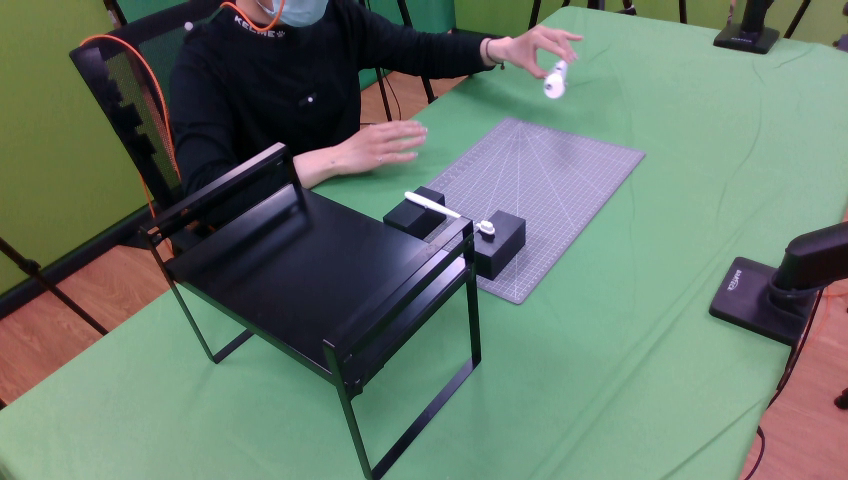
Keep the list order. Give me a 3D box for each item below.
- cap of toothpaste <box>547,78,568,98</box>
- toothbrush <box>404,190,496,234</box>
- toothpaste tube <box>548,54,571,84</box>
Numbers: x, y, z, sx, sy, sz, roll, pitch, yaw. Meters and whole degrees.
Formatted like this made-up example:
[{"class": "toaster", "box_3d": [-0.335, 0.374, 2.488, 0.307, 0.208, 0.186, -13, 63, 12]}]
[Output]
[{"class": "cap of toothpaste", "box_3d": [0.242, -0.277, 1.100, 0.037, 0.037, 0.011, -4, 28, 4]}, {"class": "toothbrush", "box_3d": [0.036, -0.047, 0.942, 0.180, 0.017, 0.014, 25, 62, 34]}, {"class": "toothpaste tube", "box_3d": [0.261, -0.320, 1.166, 0.055, 0.034, 0.165, -37, 17, 30]}]
